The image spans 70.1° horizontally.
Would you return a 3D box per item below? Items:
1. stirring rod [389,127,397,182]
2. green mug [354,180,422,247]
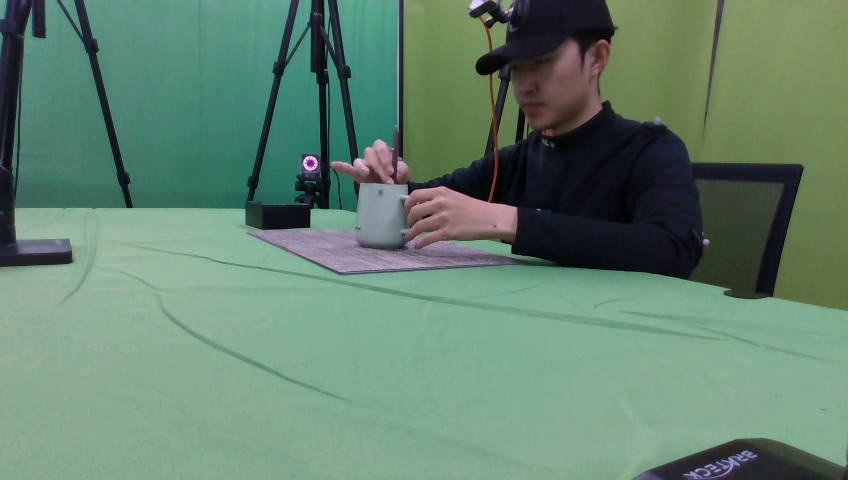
[{"bbox_3d":[-0.052,-0.092,0.972,0.006,0.176,0.014,-1,8,-36],"label":"stirring rod"},{"bbox_3d":[-0.055,-0.043,0.988,0.125,0.105,0.093,7,9,35],"label":"green mug"}]
